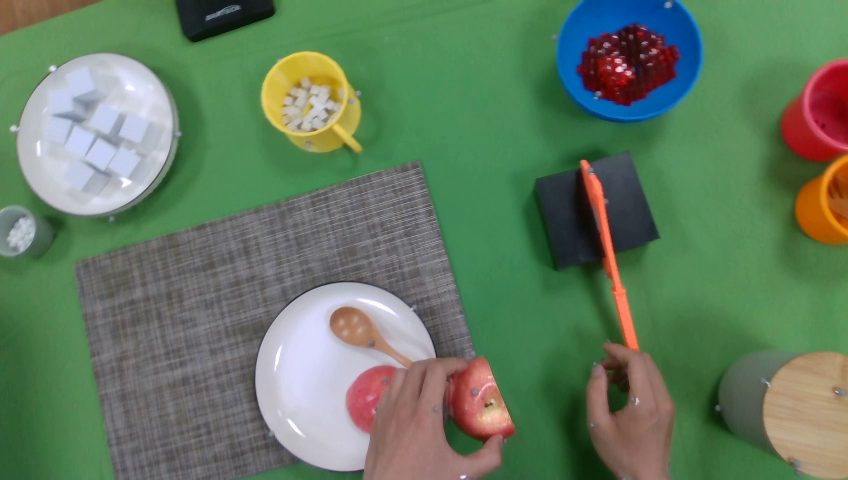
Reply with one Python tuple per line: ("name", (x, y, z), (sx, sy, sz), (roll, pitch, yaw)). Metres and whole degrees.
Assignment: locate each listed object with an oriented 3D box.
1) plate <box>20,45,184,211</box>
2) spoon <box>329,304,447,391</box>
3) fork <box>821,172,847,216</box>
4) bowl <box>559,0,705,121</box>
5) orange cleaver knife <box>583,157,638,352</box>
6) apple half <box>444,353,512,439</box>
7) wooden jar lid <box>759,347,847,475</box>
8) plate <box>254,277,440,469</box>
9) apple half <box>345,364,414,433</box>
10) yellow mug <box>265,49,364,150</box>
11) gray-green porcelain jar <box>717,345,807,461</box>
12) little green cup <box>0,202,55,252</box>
("plate", (-0.393, -0.136, 0.752), (0.207, 0.039, 0.207), (-1, 83, 6))
("spoon", (-0.024, 0.128, 0.663), (0.192, 0.022, 0.041), (29, 77, 21))
("fork", (0.435, -0.003, 0.588), (0.028, 0.019, 0.205), (6, 40, 1))
("bowl", (0.221, -0.195, 0.670), (0.151, 0.077, 0.151), (-1, 84, 7))
("orange cleaver knife", (0.198, 0.016, 0.646), (0.012, 0.077, 0.212), (-14, 105, 8))
("apple half", (0.046, 0.155, 0.587), (0.053, 0.074, 0.081), (-22, 94, -3))
("wooden jar lid", (0.347, 0.148, 0.529), (0.108, 0.021, 0.108), (0, 85, 6))
("plate", (-0.085, 0.146, 0.681), (0.209, 0.038, 0.208), (-1, 83, 6))
("apple half", (-0.053, 0.177, 0.667), (0.081, 0.033, 0.081), (-1, 80, 8))
("yellow mug", (-0.117, -0.153, 0.709), (0.100, 0.064, 0.130), (-45, 82, 0))
("gray-green porcelain jar", (0.355, 0.157, 0.590), (0.106, 0.127, 0.105), (-1, 83, 7))
("little green cup", (-0.491, -0.014, 0.747), (0.061, 0.039, 0.061), (0, 84, 5))
